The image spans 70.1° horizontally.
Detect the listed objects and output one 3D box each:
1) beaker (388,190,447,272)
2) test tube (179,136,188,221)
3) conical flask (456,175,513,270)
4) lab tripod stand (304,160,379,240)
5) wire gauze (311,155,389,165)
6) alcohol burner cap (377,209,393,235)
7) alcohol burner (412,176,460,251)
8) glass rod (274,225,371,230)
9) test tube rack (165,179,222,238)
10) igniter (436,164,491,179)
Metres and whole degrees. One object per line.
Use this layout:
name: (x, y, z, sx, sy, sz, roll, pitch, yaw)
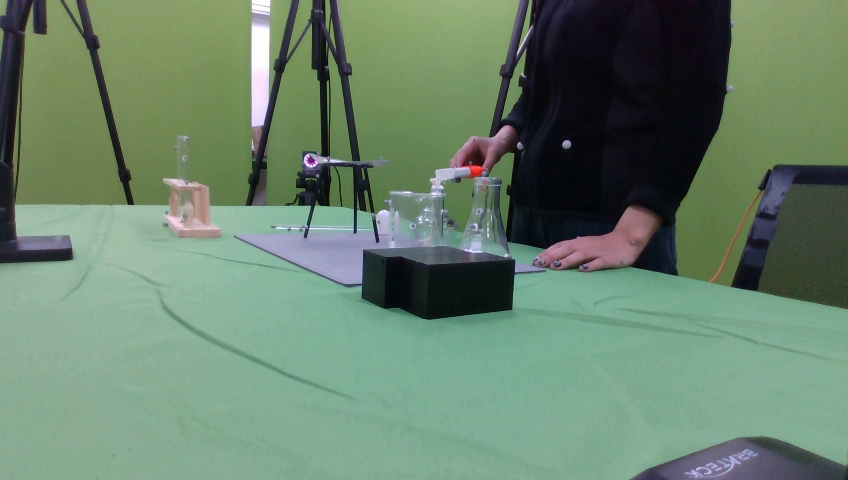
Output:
beaker: (-0.010, -0.013, 0.771, 0.074, 0.100, 0.084, 3, 7, 4)
test tube: (-0.425, -0.108, 1.070, 0.017, 0.150, 0.017, 4, 9, 0)
conical flask: (0.083, -0.025, 0.801, 0.075, 0.122, 0.075, 2, 7, 0)
lab tripod stand: (-0.131, -0.071, 1.046, 0.148, 0.131, 0.148, 4, 7, 0)
wire gauze: (-0.128, -0.137, 1.042, 0.122, 0.011, 0.124, 1, 8, -18)
alcohol burner cap: (-0.076, -0.035, 1.145, 0.034, 0.048, 0.034, 2, 7, 0)
alcohol burner: (0.020, -0.043, 0.958, 0.078, 0.119, 0.078, 4, 9, 0)
glass rod: (-0.193, -0.024, 1.176, 0.201, 0.008, 0.008, 1, 6, -31)
test tube rack: (-0.423, -0.062, 1.098, 0.067, 0.085, 0.241, -2, 9, -28)
igniter: (0.077, -0.126, 1.100, 0.057, 0.025, 0.277, -4, 6, 19)
